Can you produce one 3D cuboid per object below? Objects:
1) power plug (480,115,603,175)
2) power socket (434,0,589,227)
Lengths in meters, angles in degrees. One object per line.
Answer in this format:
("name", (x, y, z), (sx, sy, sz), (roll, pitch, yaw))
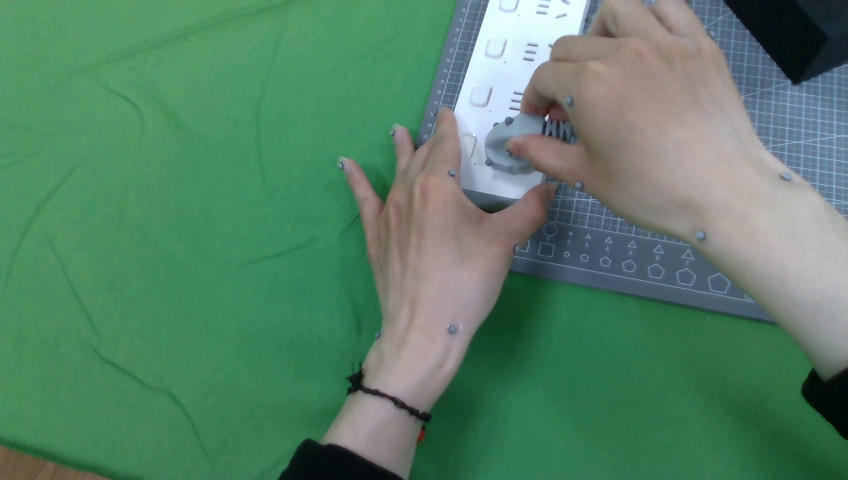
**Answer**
("power plug", (0.070, -0.052, 0.381), (0.072, 0.053, 0.035), (23, 73, 19))
("power socket", (0.067, -0.116, 0.436), (0.072, 0.033, 0.225), (14, 69, 12))
